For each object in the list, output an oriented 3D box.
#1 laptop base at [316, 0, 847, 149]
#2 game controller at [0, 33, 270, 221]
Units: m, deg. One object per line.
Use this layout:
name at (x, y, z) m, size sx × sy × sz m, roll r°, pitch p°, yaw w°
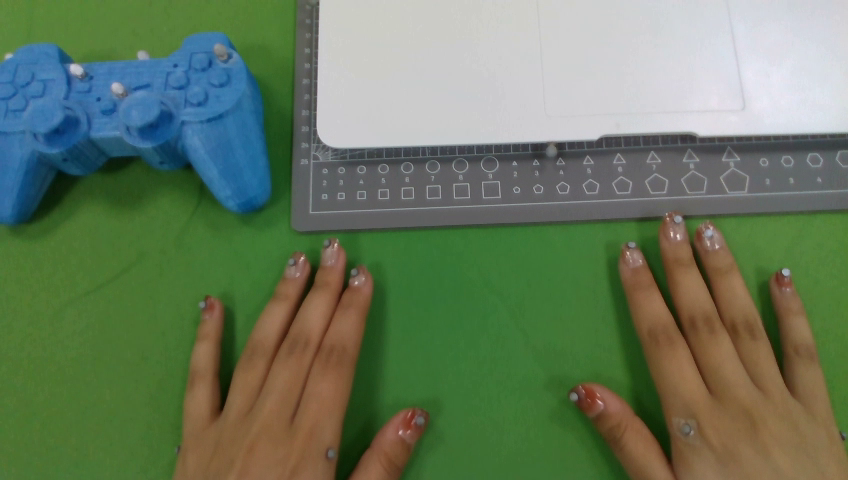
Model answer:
laptop base at (0.116, -0.164, 0.357) m, size 0.354 × 0.023 × 0.234 m, roll -1°, pitch 76°, yaw 2°
game controller at (-0.161, -0.063, 0.322) m, size 0.155 × 0.052 × 0.096 m, roll -2°, pitch 68°, yaw 1°
